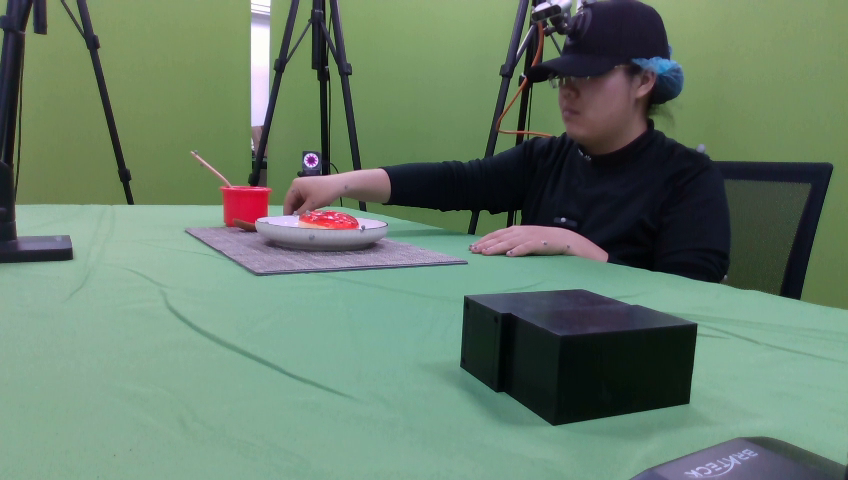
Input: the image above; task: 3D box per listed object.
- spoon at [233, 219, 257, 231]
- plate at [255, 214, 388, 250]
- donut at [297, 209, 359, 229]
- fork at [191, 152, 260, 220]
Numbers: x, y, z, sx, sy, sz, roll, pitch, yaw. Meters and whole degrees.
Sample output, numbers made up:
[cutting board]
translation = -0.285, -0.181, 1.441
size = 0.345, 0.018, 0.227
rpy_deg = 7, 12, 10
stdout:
[spoon]
translation = -0.250, -0.028, 1.107
size = 0.195, 0.021, 0.041
rpy_deg = -2, -9, -29
[plate]
translation = -0.161, -0.013, 0.961
size = 0.209, 0.038, 0.209
rpy_deg = 2, 7, 0
[donut]
translation = -0.151, -0.023, 0.955
size = 0.099, 0.048, 0.099
rpy_deg = 5, 7, 0
[fork]
translation = -0.386, -0.103, 1.191
size = 0.207, 0.018, 0.028
rpy_deg = 46, 15, 5
